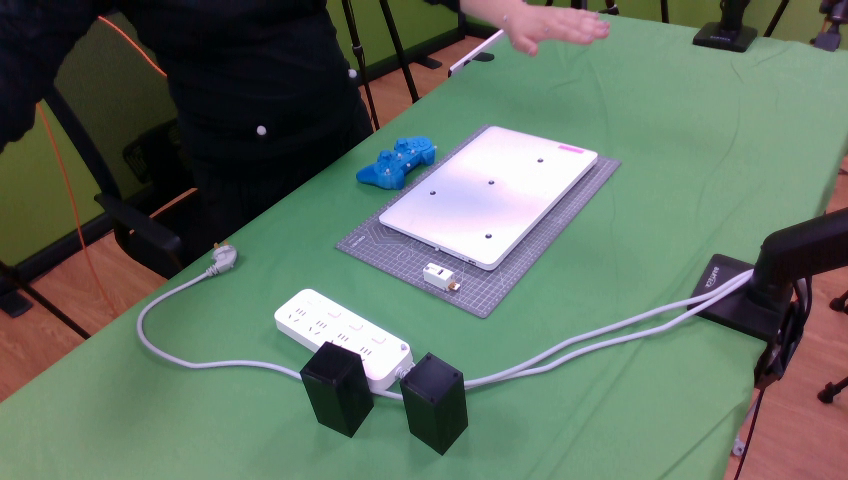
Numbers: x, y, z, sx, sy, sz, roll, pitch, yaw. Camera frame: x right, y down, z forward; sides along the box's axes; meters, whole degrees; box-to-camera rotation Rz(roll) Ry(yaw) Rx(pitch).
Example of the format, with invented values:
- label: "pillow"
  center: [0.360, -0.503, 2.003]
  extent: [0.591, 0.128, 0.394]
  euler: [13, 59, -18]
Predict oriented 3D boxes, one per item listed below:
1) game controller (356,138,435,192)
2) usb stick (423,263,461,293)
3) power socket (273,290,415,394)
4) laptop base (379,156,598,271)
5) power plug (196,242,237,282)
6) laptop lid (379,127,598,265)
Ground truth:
- label: "game controller"
  center: [-0.049, -0.149, 1.136]
  extent: [0.096, 0.052, 0.155]
  euler: [27, 51, 28]
- label: "usb stick"
  center: [0.028, 0.058, 0.889]
  extent: [0.059, 0.027, 0.021]
  euler: [24, 47, 30]
- label: "power socket"
  center: [-0.114, 0.133, 0.820]
  extent: [0.225, 0.033, 0.072]
  euler: [24, 48, 32]
- label: "laptop base"
  center: [0.120, -0.085, 1.054]
  extent: [0.233, 0.023, 0.355]
  euler: [21, 48, 34]
- label: "power plug"
  center: [-0.336, 0.030, 0.968]
  extent: [0.073, 0.035, 0.052]
  euler: [-17, 57, -30]
- label: "laptop lid"
  center: [0.117, -0.095, 1.048]
  extent: [0.239, 0.013, 0.358]
  euler: [23, 49, 34]
